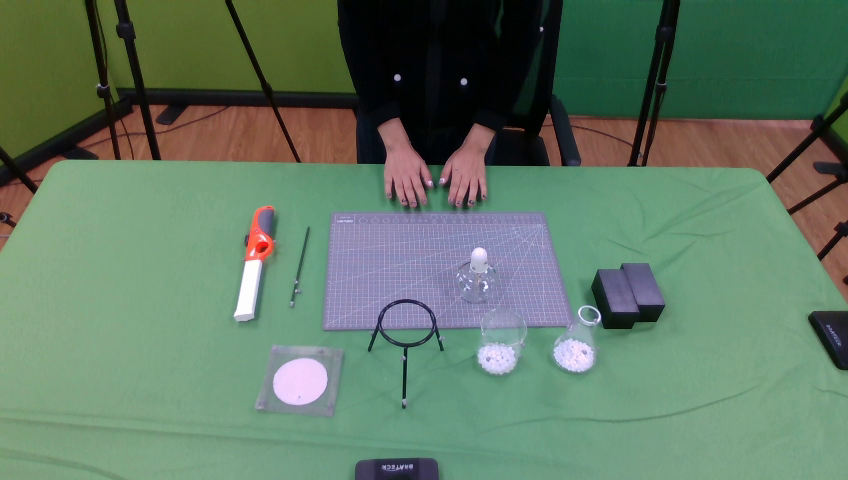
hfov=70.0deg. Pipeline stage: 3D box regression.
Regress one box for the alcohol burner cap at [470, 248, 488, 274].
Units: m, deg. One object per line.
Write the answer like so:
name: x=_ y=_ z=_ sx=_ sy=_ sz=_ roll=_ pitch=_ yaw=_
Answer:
alcohol burner cap: x=0.095 y=0.034 z=1.057 sx=0.034 sy=0.048 sz=0.033 roll=-3 pitch=52 yaw=4

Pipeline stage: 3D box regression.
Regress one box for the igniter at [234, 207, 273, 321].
igniter: x=-0.318 y=0.035 z=1.137 sx=0.057 sy=0.025 sz=0.274 roll=-8 pitch=46 yaw=3

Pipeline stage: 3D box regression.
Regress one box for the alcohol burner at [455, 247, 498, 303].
alcohol burner: x=0.095 y=0.057 z=1.085 sx=0.078 sy=0.120 sz=0.077 roll=1 pitch=47 yaw=-1

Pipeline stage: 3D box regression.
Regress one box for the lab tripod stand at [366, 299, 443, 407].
lab tripod stand: x=-0.028 y=0.165 z=0.960 sx=0.148 sy=0.132 sz=0.147 roll=3 pitch=44 yaw=-2

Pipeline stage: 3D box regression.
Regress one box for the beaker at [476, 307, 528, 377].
beaker: x=0.122 y=0.171 z=0.991 sx=0.084 sy=0.101 sz=0.073 roll=-34 pitch=56 yaw=-30

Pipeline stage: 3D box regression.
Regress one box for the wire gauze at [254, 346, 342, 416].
wire gauze: x=-0.201 y=0.223 z=0.978 sx=0.125 sy=0.011 sz=0.121 roll=4 pitch=45 yaw=1

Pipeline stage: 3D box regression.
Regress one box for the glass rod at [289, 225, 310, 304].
glass rod: x=-0.235 y=0.043 z=1.150 sx=0.008 sy=0.008 sz=0.198 roll=3 pitch=46 yaw=-1

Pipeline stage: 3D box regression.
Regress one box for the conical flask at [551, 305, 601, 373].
conical flask: x=0.257 y=0.158 z=0.998 sx=0.075 sy=0.122 sz=0.075 roll=2 pitch=45 yaw=-2
